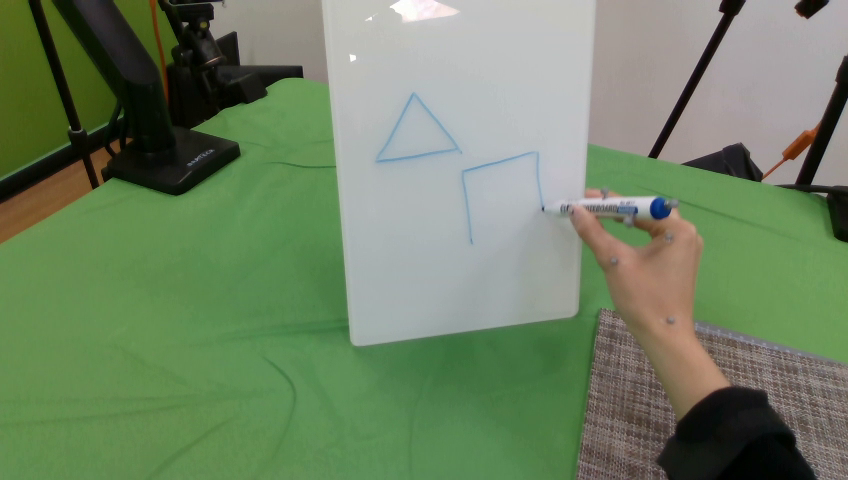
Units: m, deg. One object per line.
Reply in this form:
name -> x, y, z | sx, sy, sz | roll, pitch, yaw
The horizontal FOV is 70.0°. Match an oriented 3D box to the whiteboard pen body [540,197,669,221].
whiteboard pen body -> 0.130, -0.023, 0.465 | 0.017, 0.017, 0.140 | -15, 9, -23

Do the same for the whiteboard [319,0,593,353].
whiteboard -> 0.021, -0.078, 0.562 | 0.218, 0.307, 0.142 | -6, 19, -11
